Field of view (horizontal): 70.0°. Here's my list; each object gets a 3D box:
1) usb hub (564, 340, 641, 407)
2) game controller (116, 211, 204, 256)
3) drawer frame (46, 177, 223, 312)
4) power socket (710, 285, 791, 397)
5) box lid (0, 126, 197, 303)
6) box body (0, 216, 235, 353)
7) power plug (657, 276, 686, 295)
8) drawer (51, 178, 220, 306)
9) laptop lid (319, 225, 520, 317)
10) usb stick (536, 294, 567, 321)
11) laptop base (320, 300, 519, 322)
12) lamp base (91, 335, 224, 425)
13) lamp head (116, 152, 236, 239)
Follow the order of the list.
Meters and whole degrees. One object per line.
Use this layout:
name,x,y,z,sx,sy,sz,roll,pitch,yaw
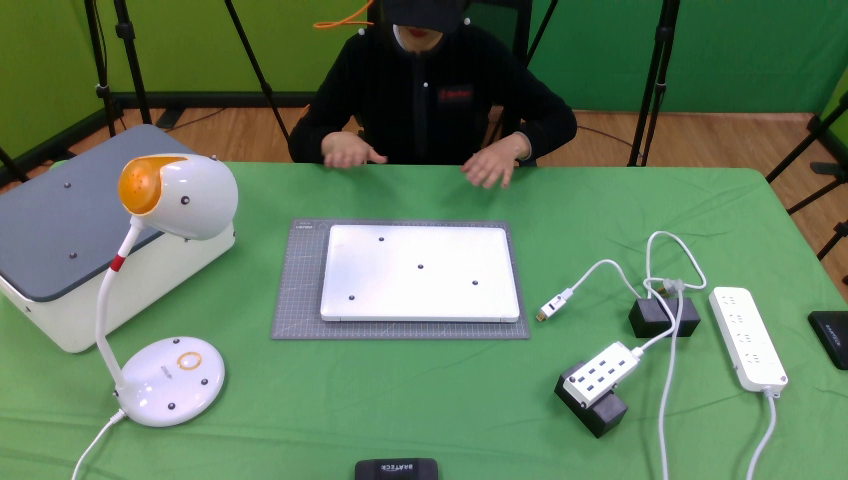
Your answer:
usb hub,0.278,0.205,0.944,0.125,0.025,0.049,-27,52,-28
game controller,-0.500,-0.018,1.142,0.154,0.051,0.097,24,20,19
drawer frame,-0.519,0.001,1.106,0.201,0.083,0.213,26,51,21
power socket,0.567,0.168,1.064,0.072,0.033,0.225,2,46,0
box lid,-0.535,-0.064,1.013,0.262,0.015,0.371,31,50,21
box body,-0.550,-0.007,1.068,0.253,0.161,0.363,30,51,23
power plug,0.450,0.087,1.113,0.073,0.052,0.035,-13,72,-55
drawer,-0.520,-0.002,1.107,0.194,0.073,0.211,26,50,21
laptop lid,-0.008,0.052,1.131,0.357,0.013,0.240,2,43,-2
usb stick,0.226,0.122,1.083,0.059,0.027,0.021,-37,78,-8
laptop base,-0.009,0.062,1.138,0.354,0.023,0.234,1,42,-3
lamp base,-0.401,0.170,0.892,0.160,0.181,0.179,30,53,23
lamp head,-0.315,-0.057,0.748,0.112,0.112,0.123,26,10,20
